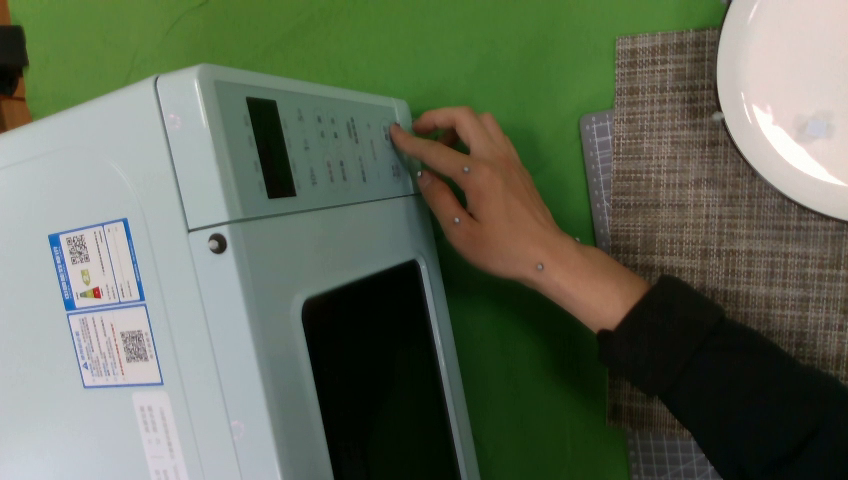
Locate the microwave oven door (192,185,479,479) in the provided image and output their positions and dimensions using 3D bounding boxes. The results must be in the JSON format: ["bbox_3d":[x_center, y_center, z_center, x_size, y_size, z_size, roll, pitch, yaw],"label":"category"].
[{"bbox_3d":[-0.030,0.146,0.424,0.039,0.244,0.356,-8,95,25],"label":"microwave oven door"}]

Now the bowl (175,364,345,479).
[{"bbox_3d":[-0.122,0.168,0.507,0.150,0.077,0.151,3,100,22],"label":"bowl"}]

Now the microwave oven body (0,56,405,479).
[{"bbox_3d":[-0.167,0.124,0.485,0.325,0.260,0.442,-8,96,24],"label":"microwave oven body"}]

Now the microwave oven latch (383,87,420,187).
[{"bbox_3d":[-0.026,-0.083,0.494,0.030,0.029,0.079,-8,96,24],"label":"microwave oven latch"}]

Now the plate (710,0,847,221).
[{"bbox_3d":[0.288,-0.113,0.366,0.208,0.038,0.209,3,99,23],"label":"plate"}]
